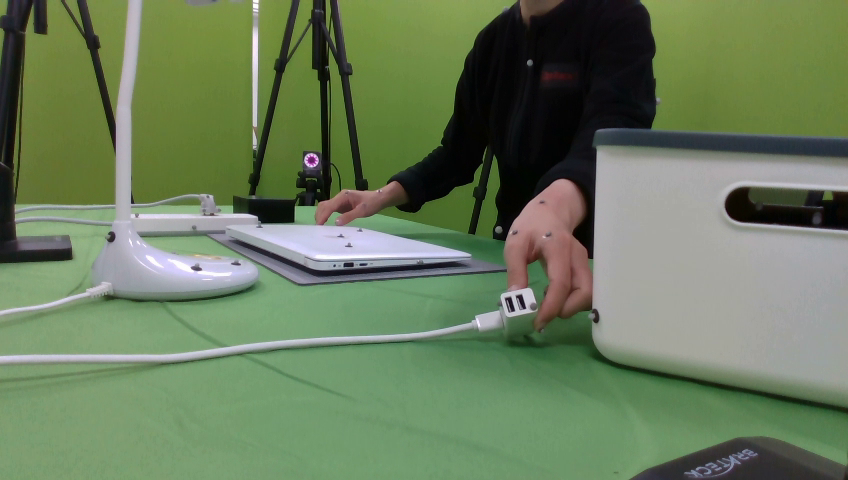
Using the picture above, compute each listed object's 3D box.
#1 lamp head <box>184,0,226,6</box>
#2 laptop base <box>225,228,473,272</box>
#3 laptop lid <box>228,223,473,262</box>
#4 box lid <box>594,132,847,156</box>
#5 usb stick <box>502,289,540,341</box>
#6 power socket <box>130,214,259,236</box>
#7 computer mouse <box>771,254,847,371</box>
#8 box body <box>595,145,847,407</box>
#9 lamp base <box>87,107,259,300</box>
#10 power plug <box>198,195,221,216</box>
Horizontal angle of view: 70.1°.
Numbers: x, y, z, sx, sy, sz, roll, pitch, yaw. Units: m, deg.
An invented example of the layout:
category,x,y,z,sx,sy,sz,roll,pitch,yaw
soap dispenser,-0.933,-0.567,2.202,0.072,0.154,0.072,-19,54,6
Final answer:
category,x,y,z,sx,sy,sz,roll,pitch,yaw
lamp head,-0.229,-0.320,0.627,0.112,0.112,0.123,6,-35,26
laptop base,-0.125,0.011,0.889,0.237,0.023,0.352,1,7,-35
laptop lid,-0.123,-0.001,0.888,0.243,0.013,0.355,1,7,-33
box lid,0.310,-0.066,0.499,0.262,0.015,0.373,7,8,29
usb stick,0.076,0.062,0.474,0.027,0.021,0.059,-14,-32,2
power socket,-0.397,-0.028,1.048,0.228,0.032,0.072,-3,7,-35
computer mouse,0.344,0.057,0.519,0.063,0.041,0.117,12,47,3
box body,0.309,0.006,0.510,0.253,0.160,0.366,6,8,29
lamp base,-0.254,-0.039,0.603,0.160,0.180,0.179,4,10,18
power plug,-0.385,-0.055,1.088,0.035,0.052,0.072,-1,6,-24
